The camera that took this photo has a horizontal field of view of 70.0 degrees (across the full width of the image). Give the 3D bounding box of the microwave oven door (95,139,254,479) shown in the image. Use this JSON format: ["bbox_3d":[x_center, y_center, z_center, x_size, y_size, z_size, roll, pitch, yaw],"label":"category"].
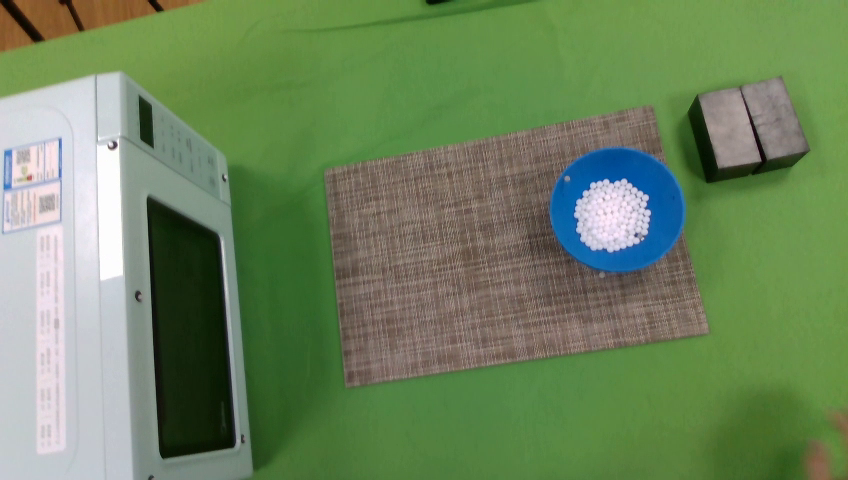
[{"bbox_3d":[-0.276,0.094,0.683,0.039,0.245,0.353,-12,75,7],"label":"microwave oven door"}]

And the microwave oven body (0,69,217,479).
[{"bbox_3d":[-0.424,0.085,0.714,0.326,0.261,0.439,-12,76,6],"label":"microwave oven body"}]

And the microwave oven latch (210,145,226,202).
[{"bbox_3d":[-0.293,-0.090,0.835,0.030,0.029,0.078,-12,76,6],"label":"microwave oven latch"}]

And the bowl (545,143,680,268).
[{"bbox_3d":[0.222,-0.033,0.733,0.151,0.077,0.150,-2,77,9],"label":"bowl"}]
